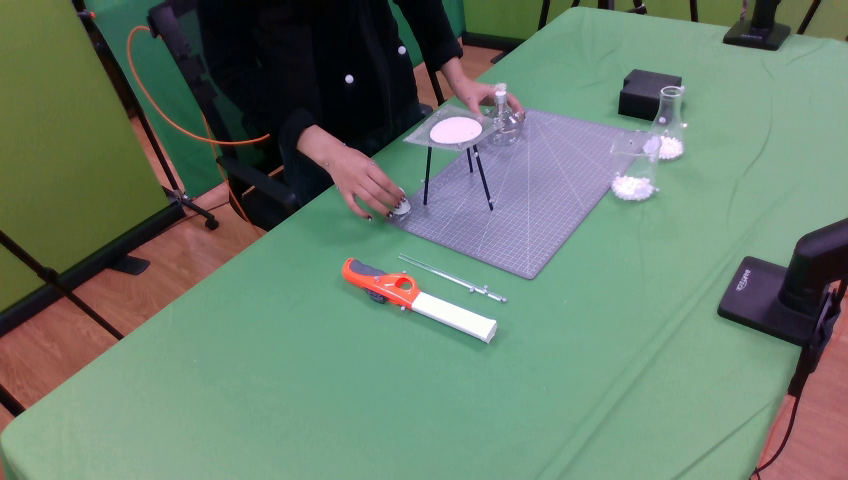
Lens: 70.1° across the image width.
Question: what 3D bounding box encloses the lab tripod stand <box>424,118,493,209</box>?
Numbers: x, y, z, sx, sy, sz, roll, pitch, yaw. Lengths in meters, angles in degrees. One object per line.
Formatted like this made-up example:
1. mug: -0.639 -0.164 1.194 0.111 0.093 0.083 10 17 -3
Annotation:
1. lab tripod stand: 0.061 -0.133 1.039 0.148 0.132 0.147 -6 39 6

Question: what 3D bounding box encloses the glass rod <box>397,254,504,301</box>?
1. glass rod: 0.036 0.054 0.922 0.198 0.008 0.008 21 49 31

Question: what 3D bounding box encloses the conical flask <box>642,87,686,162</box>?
1. conical flask: 0.429 -0.206 1.067 0.075 0.122 0.075 -6 40 6

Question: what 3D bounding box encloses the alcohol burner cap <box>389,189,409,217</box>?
1. alcohol burner cap: -0.045 -0.066 1.038 0.034 0.048 0.033 -7 44 8

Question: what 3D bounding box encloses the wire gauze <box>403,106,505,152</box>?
1. wire gauze: 0.049 -0.181 0.992 0.120 0.011 0.125 23 48 34

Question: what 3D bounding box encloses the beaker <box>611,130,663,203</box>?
1. beaker: 0.346 -0.118 0.998 0.084 0.101 0.073 -17 40 -7

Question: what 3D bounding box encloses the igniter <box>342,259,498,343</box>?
1. igniter: -0.017 0.084 0.883 0.274 0.025 0.057 20 59 31

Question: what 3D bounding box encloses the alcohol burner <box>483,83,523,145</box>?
1. alcohol burner: 0.152 -0.246 1.170 0.078 0.120 0.077 -7 40 7
